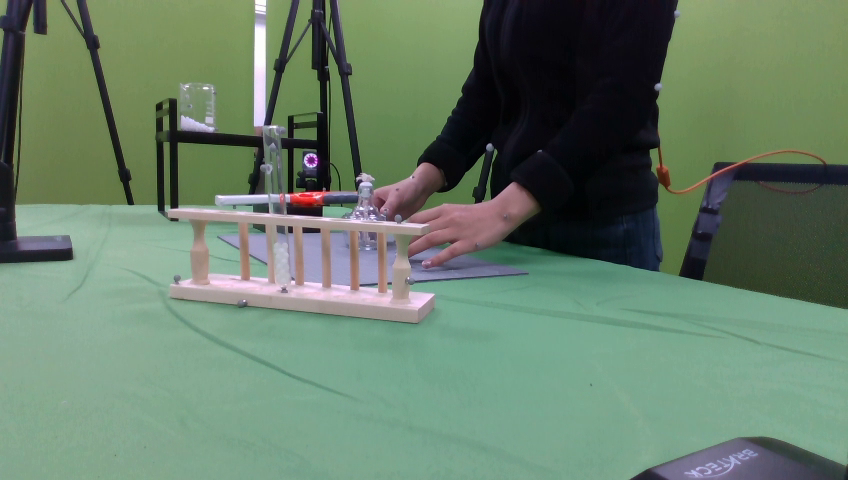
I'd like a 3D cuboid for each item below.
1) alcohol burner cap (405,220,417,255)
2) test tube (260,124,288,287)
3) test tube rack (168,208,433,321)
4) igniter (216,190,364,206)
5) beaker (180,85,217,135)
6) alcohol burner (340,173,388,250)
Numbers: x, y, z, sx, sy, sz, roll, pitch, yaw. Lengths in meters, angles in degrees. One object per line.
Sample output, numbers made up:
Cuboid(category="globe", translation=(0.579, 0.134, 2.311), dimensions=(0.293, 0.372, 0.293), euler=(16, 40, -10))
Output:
Cuboid(category="alcohol burner cap", translation=(-0.025, -0.004, 0.848), dimensions=(0.034, 0.048, 0.034), euler=(3, 1, 0))
Cuboid(category="test tube", translation=(-0.137, -0.030, 0.554), dimensions=(0.017, 0.150, 0.017), euler=(-2, 10, 1))
Cuboid(category="test tube rack", translation=(-0.116, 0.018, 0.574), dimensions=(0.242, 0.085, 0.067), euler=(4, 8, 13))
Cuboid(category="igniter", translation=(-0.248, -0.079, 1.152), dimensions=(0.278, 0.025, 0.057), euler=(-4, 12, -27))
Cuboid(category="beaker", translation=(-0.478, -0.275, 1.279), dimensions=(0.074, 0.100, 0.084), euler=(4, 8, 15))
Cuboid(category="alcohol burner", translation=(-0.094, -0.045, 0.940), dimensions=(0.078, 0.119, 0.078), euler=(1, 6, 0))
